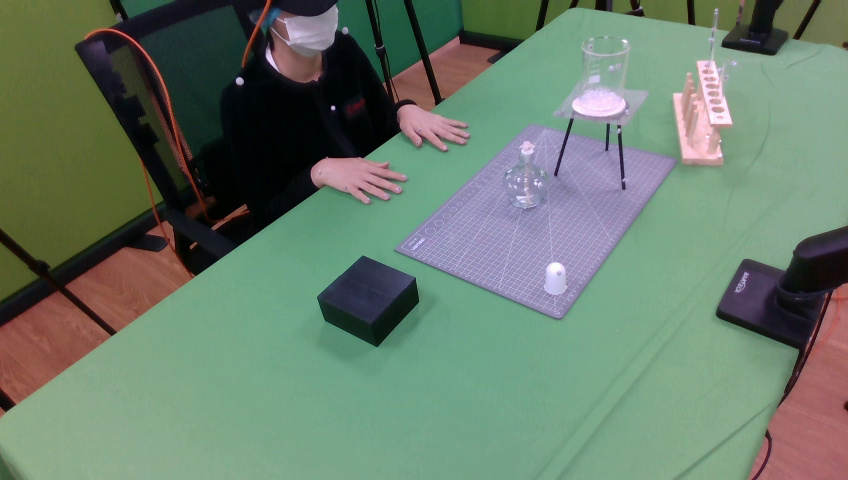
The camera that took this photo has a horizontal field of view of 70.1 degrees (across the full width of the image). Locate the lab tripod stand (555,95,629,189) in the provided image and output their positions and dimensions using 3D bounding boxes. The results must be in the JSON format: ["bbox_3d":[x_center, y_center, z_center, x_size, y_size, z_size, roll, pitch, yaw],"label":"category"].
[{"bbox_3d":[0.300,-0.174,1.045,0.148,0.132,0.147,-5,38,5],"label":"lab tripod stand"}]

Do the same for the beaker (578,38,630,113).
[{"bbox_3d":[0.290,-0.265,0.976,0.084,0.101,0.073,-18,41,-14],"label":"beaker"}]

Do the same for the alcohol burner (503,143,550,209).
[{"bbox_3d":[0.171,-0.111,1.007,0.078,0.119,0.077,-3,41,3],"label":"alcohol burner"}]

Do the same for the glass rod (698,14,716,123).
[{"bbox_3d":[0.531,-0.320,1.136,0.008,0.200,0.008,3,12,0],"label":"glass rod"}]

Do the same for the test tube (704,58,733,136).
[{"bbox_3d":[0.516,-0.247,1.062,0.017,0.151,0.017,-3,43,4],"label":"test tube"}]

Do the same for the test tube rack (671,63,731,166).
[{"bbox_3d":[0.513,-0.241,1.132,0.066,0.085,0.242,4,41,14],"label":"test tube rack"}]

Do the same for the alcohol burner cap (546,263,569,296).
[{"bbox_3d":[0.191,0.053,0.862,0.034,0.048,0.033,-5,40,4],"label":"alcohol burner cap"}]

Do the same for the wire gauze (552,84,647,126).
[{"bbox_3d":[0.293,-0.224,1.004,0.120,0.011,0.125,19,43,26],"label":"wire gauze"}]
